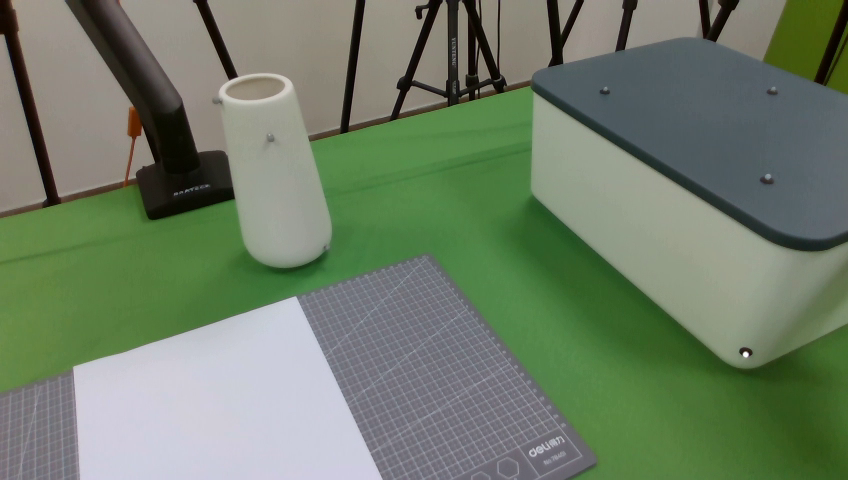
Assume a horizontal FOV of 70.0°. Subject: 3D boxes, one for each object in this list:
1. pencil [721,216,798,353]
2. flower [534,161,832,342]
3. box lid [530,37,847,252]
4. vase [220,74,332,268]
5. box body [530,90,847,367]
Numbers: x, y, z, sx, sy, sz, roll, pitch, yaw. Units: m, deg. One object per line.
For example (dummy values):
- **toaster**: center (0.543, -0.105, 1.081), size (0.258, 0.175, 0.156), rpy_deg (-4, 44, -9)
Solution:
- **pencil**: center (0.351, 0.040, 0.638), size (0.012, 0.012, 0.192), rpy_deg (-1, 43, 1)
- **flower**: center (0.273, 0.005, 0.680), size (0.358, 0.038, 0.044), rpy_deg (36, 15, 28)
- **box lid**: center (0.305, -0.121, 0.597), size (0.264, 0.015, 0.367), rpy_deg (-18, 40, -19)
- **vase**: center (-0.157, -0.068, 0.639), size (0.098, 0.202, 0.097), rpy_deg (-2, 38, 2)
- **box body**: center (0.307, -0.063, 0.646), size (0.255, 0.162, 0.359), rpy_deg (-18, 41, -19)
